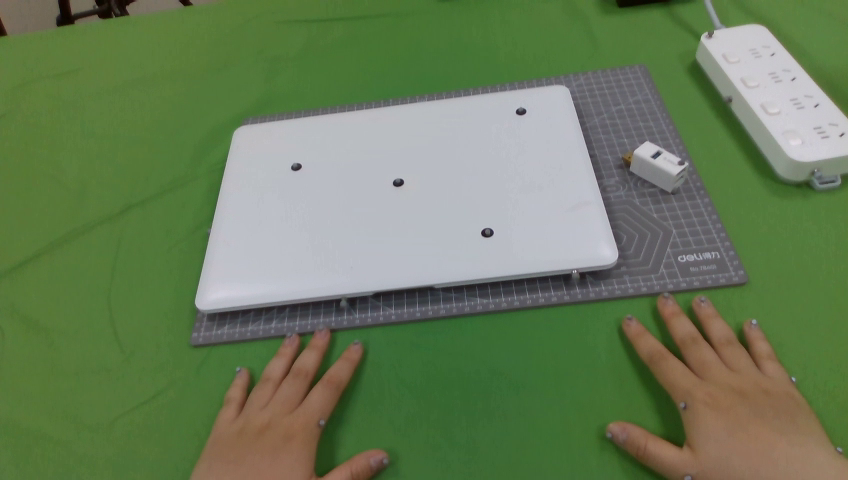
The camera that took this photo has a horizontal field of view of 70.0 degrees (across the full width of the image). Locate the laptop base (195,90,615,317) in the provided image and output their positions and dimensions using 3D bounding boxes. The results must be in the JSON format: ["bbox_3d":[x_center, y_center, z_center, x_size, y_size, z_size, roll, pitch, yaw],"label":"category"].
[{"bbox_3d":[-0.024,-0.042,0.571,0.354,0.023,0.233,-7,53,3],"label":"laptop base"}]

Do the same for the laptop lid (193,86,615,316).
[{"bbox_3d":[-0.025,-0.048,0.560,0.356,0.013,0.239,-6,52,5],"label":"laptop lid"}]

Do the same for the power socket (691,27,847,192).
[{"bbox_3d":[0.331,-0.136,0.584,0.072,0.033,0.224,-9,49,0],"label":"power socket"}]

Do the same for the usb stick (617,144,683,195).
[{"bbox_3d":[0.202,-0.067,0.547,0.021,0.027,0.058,-36,51,-21],"label":"usb stick"}]
